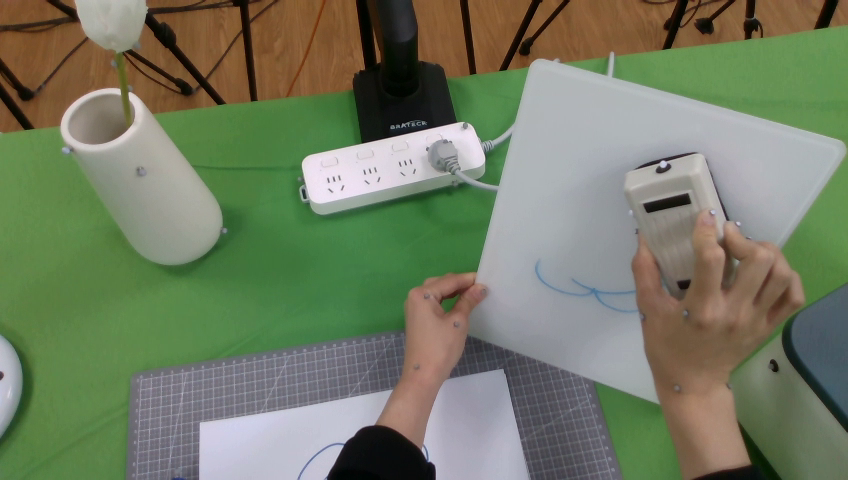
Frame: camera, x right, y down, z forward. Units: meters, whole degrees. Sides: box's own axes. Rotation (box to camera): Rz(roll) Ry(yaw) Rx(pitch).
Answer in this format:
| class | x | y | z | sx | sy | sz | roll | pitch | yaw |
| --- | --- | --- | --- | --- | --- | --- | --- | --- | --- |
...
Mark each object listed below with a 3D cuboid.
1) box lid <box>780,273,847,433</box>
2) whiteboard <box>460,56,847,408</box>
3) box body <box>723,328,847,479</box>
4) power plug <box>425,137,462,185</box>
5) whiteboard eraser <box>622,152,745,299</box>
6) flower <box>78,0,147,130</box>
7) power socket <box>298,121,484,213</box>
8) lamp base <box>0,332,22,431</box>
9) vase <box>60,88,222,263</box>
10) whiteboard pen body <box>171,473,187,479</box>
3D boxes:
| class | x | y | z | sx | sy | sz | roll | pitch | yaw |
| --- | --- | --- | --- | --- | --- | --- | --- | --- | --- |
| box lid | 0.465 | 0.152 | 0.424 | 0.263 | 0.015 | 0.368 | -26 | 65 | -13 |
| whiteboard | 0.180 | -0.022 | 0.556 | 0.216 | 0.308 | 0.143 | 19 | 42 | 11 |
| box body | 0.466 | 0.191 | 0.489 | 0.254 | 0.161 | 0.360 | -25 | 65 | -13 |
| power plug | 0.021 | -0.083 | 0.682 | 0.035 | 0.053 | 0.072 | -4 | 68 | -3 |
| whiteboard eraser | 0.191 | -0.010 | 0.444 | 0.055 | 0.113 | 0.041 | -15 | 28 | 34 |
| flower | -0.251 | -0.091 | 0.522 | 0.038 | 0.362 | 0.044 | 39 | 58 | 1 |
| power socket | -0.036 | -0.086 | 0.708 | 0.227 | 0.033 | 0.071 | -13 | 63 | -8 |
| lamp base | -0.483 | 0.110 | 0.515 | 0.178 | 0.182 | 0.160 | 20 | 63 | 14 |
| vase | -0.272 | -0.056 | 0.596 | 0.098 | 0.201 | 0.097 | 0 | 61 | 1 |
| whiteboard pen body | -0.218 | 0.273 | 0.515 | 0.017 | 0.017 | 0.139 | -1 | 64 | 0 |
